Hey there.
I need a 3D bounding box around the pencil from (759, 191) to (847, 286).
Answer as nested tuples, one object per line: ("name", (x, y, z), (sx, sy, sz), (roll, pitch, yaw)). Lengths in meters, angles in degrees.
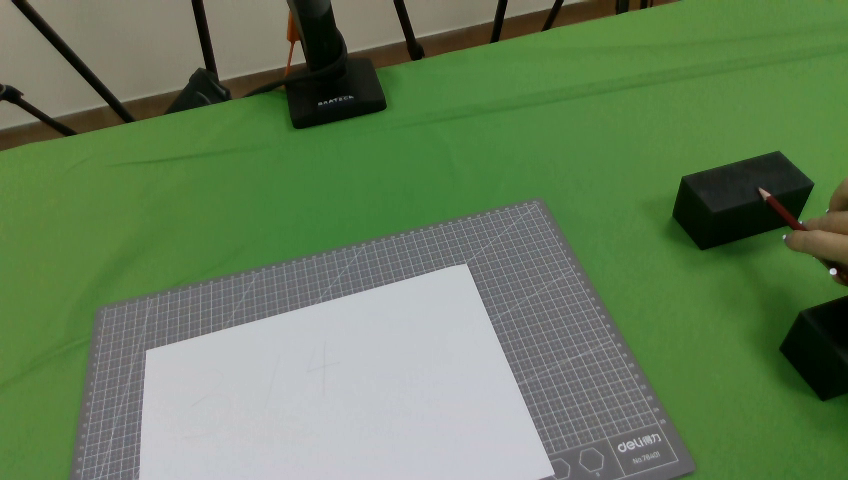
("pencil", (0.313, 0.019, 0.464), (0.012, 0.012, 0.192), (-13, 42, -3))
